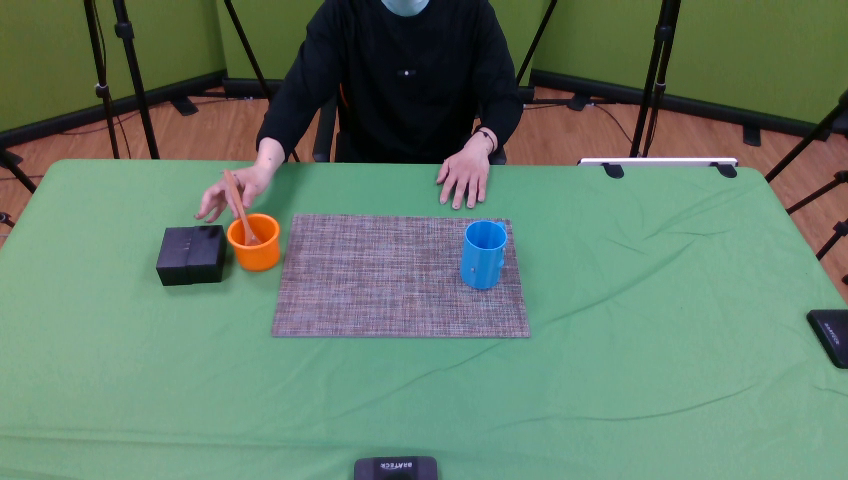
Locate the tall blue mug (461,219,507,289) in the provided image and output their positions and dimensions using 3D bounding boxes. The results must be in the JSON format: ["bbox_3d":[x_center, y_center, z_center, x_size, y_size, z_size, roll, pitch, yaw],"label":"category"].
[{"bbox_3d":[0.111,0.016,1.122,0.078,0.108,0.106,6,46,4],"label":"tall blue mug"}]

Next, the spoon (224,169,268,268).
[{"bbox_3d":[-0.333,-0.040,1.124,0.041,0.194,0.021,-18,6,-13],"label":"spoon"}]
